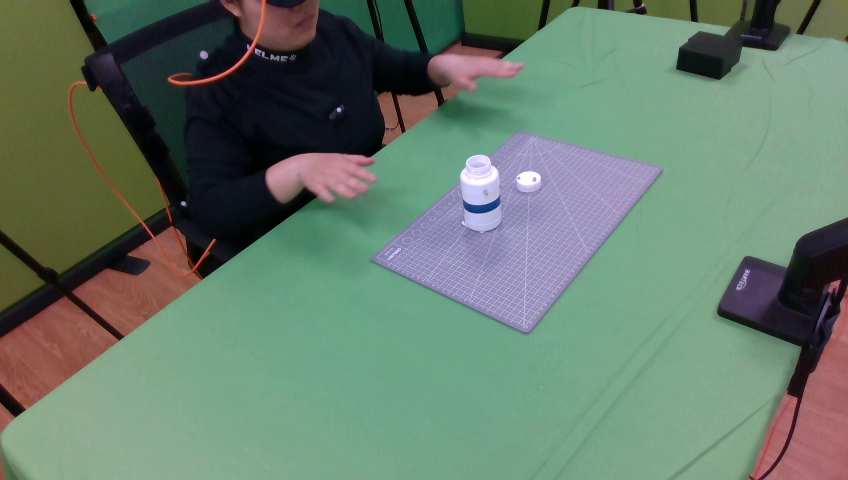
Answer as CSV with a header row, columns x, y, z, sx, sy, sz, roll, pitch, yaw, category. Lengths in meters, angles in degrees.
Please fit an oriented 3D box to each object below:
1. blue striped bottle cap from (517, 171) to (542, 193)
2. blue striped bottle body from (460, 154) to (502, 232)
x,y,z,sx,sy,sz,roll,pitch,yaw,category
0.187,-0.103,1.072,0.044,0.021,0.044,-5,42,5,blue striped bottle cap
0.092,-0.078,0.976,0.063,0.121,0.063,-6,40,5,blue striped bottle body
